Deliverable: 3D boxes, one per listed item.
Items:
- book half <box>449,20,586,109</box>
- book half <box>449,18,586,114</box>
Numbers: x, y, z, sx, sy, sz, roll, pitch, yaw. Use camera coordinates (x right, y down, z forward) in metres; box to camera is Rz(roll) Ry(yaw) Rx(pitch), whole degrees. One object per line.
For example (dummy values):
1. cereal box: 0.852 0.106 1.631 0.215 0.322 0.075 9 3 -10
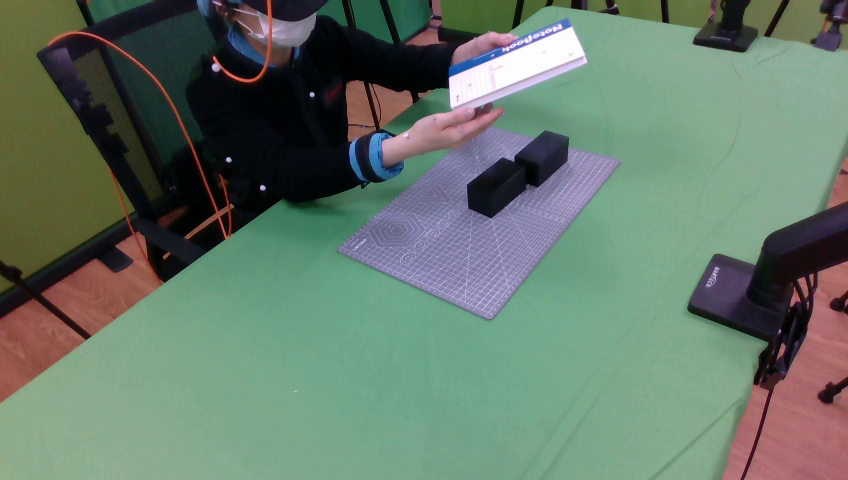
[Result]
1. book half: 0.138 -0.278 0.950 0.209 0.007 0.142 -18 38 15
2. book half: 0.139 -0.276 0.956 0.210 0.016 0.148 -18 38 15
